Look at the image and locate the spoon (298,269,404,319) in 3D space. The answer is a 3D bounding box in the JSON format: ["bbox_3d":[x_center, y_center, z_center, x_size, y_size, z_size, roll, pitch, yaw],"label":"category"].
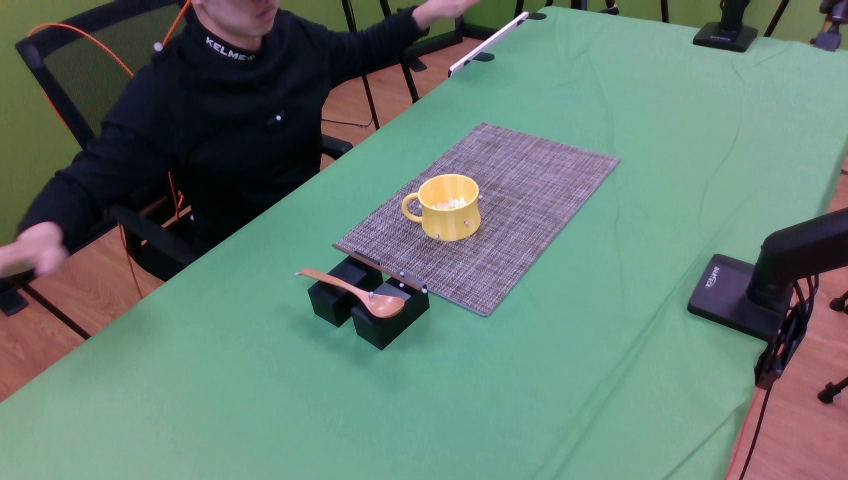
[{"bbox_3d":[-0.106,0.068,0.831,0.192,0.022,0.042,21,49,31],"label":"spoon"}]

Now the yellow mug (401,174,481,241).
[{"bbox_3d":[0.026,-0.054,0.989,0.130,0.064,0.099,-1,41,8],"label":"yellow mug"}]

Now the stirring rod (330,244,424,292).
[{"bbox_3d":[-0.070,0.038,0.863,0.175,0.006,0.014,24,12,31],"label":"stirring rod"}]
